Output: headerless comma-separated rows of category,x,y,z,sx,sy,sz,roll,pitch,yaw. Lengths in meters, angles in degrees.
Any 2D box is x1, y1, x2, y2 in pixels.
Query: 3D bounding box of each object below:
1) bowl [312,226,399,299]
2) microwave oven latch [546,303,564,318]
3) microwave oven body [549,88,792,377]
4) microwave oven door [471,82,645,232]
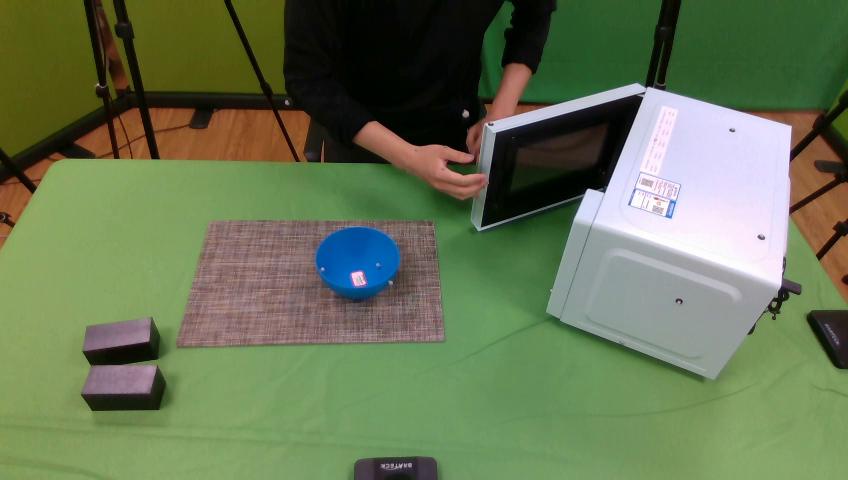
bowl,-0.120,0.054,1.091,0.151,0.077,0.150,2,46,-2
microwave oven latch,0.242,0.102,1.081,0.030,0.029,0.079,21,48,17
microwave oven body,0.456,-0.028,1.088,0.325,0.261,0.440,20,47,16
microwave oven door,0.264,-0.164,1.198,0.356,0.245,0.039,-19,49,-20
